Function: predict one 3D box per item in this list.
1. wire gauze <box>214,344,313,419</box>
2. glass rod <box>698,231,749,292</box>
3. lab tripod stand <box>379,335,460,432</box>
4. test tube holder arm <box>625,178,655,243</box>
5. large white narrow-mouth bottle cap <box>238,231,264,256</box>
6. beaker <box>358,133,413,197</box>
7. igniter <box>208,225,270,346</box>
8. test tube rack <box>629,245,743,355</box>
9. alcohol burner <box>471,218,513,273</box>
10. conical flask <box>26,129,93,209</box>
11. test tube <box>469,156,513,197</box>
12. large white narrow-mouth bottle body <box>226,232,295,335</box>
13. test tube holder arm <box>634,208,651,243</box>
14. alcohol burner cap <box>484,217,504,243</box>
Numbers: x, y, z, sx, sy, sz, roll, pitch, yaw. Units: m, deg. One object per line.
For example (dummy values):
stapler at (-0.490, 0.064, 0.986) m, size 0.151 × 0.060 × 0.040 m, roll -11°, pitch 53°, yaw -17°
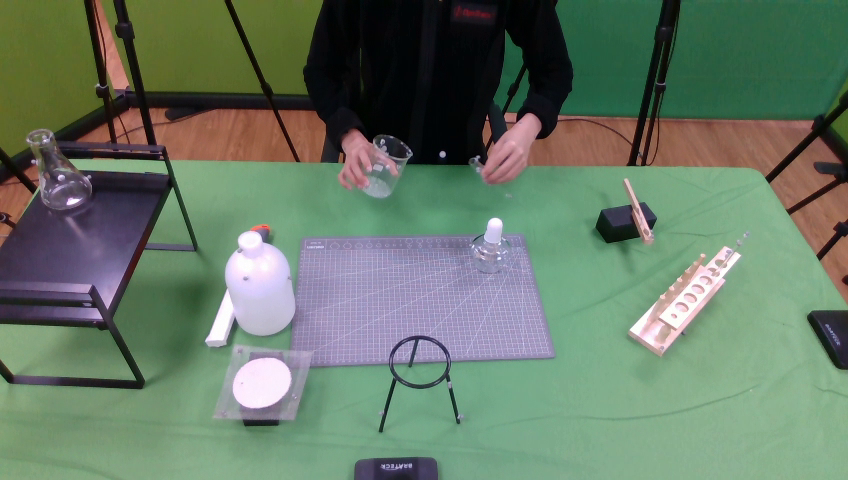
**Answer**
wire gauze at (-0.241, 0.213, 0.915) m, size 0.121 × 0.011 × 0.124 m, roll 5°, pitch 46°, yaw 1°
glass rod at (0.515, 0.044, 1.051) m, size 0.008 × 0.200 × 0.008 m, roll 1°, pitch 55°, yaw -1°
lab tripod stand at (-0.010, 0.214, 0.911) m, size 0.148 × 0.132 × 0.147 m, roll 1°, pitch 45°, yaw 0°
test tube holder arm at (0.433, -0.063, 1.220) m, size 0.013 × 0.015 × 0.177 m, roll 1°, pitch 47°, yaw -3°
large white narrow-mouth bottle cap at (-0.266, 0.006, 0.932) m, size 0.038 × 0.024 × 0.037 m, roll 2°, pitch 46°, yaw -2°
beaker at (-0.074, -0.136, 1.125) m, size 0.084 × 0.100 × 0.073 m, roll 6°, pitch 41°, yaw -30°
igniter at (-0.331, 0.072, 1.099) m, size 0.057 × 0.025 × 0.275 m, roll -4°, pitch 45°, yaw 10°
test tube rack at (0.474, 0.095, 1.091) m, size 0.242 × 0.085 × 0.066 m, roll -34°, pitch 56°, yaw -31°
alcohol burner at (0.128, 0.005, 1.132) m, size 0.078 × 0.120 × 0.077 m, roll 0°, pitch 47°, yaw 0°
conical flask at (-0.575, -0.113, 0.946) m, size 0.075 × 0.122 × 0.075 m, roll 2°, pitch 46°, yaw -2°
test tube at (0.131, -0.120, 1.169) m, size 0.017 × 0.151 × 0.017 m, roll -18°, pitch 58°, yaw 31°
large white narrow-mouth bottle body at (-0.270, 0.065, 0.995) m, size 0.102 × 0.195 × 0.101 m, roll 2°, pitch 46°, yaw -2°
test tube holder arm at (0.428, -0.030, 1.189) m, size 0.010 × 0.015 × 0.087 m, roll 1°, pitch 47°, yaw -2°
alcohol burner cap at (0.129, -0.021, 1.107) m, size 0.034 × 0.048 × 0.033 m, roll 4°, pitch 41°, yaw -3°
